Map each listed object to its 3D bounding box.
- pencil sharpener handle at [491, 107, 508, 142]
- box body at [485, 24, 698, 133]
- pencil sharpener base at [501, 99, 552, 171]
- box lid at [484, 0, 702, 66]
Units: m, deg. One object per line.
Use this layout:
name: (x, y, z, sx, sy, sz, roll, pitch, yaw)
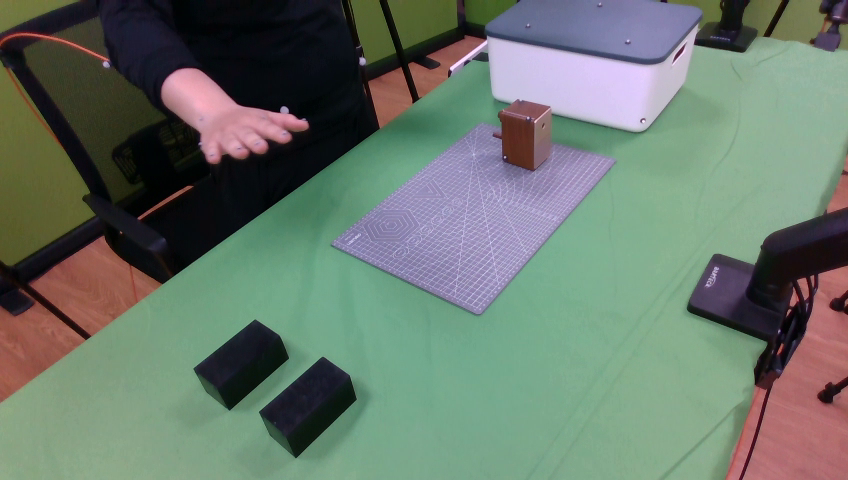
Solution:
pencil sharpener handle: (0.140, -0.215, 1.113, 0.030, 0.068, 0.036, 23, 36, 32)
box body: (0.340, -0.373, 1.251, 0.361, 0.161, 0.255, 21, 48, 30)
pencil sharpener base: (0.184, -0.191, 1.097, 0.076, 0.107, 0.061, 23, 50, 32)
box lid: (0.333, -0.428, 1.202, 0.368, 0.015, 0.264, 21, 48, 30)
